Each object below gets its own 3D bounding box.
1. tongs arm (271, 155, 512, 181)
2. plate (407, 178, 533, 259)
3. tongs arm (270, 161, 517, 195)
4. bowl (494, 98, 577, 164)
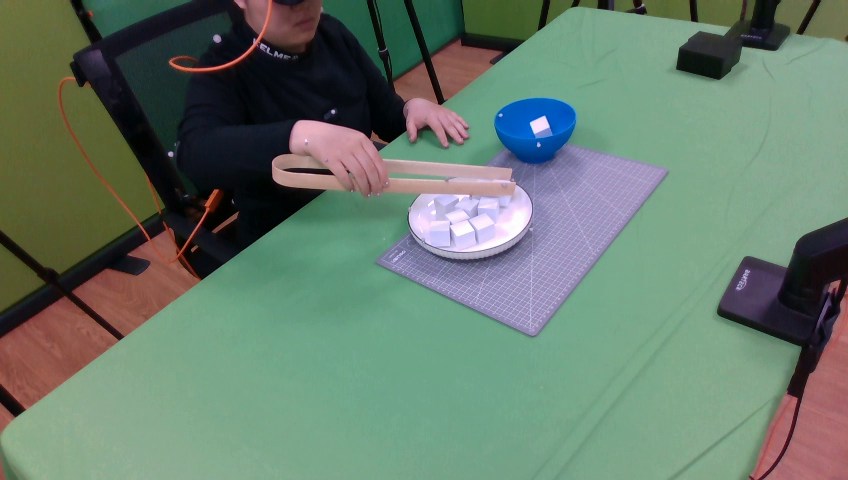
[{"bbox_3d":[-0.046,-0.112,0.973,0.389,0.028,0.028,2,41,-10],"label":"tongs arm"},{"bbox_3d":[0.076,-0.037,0.997,0.207,0.039,0.206,-5,40,5],"label":"plate"},{"bbox_3d":[-0.044,-0.097,0.954,0.386,0.026,0.050,0,38,-13],"label":"tongs arm"},{"bbox_3d":[0.207,-0.196,1.128,0.151,0.077,0.150,-5,40,5],"label":"bowl"}]
